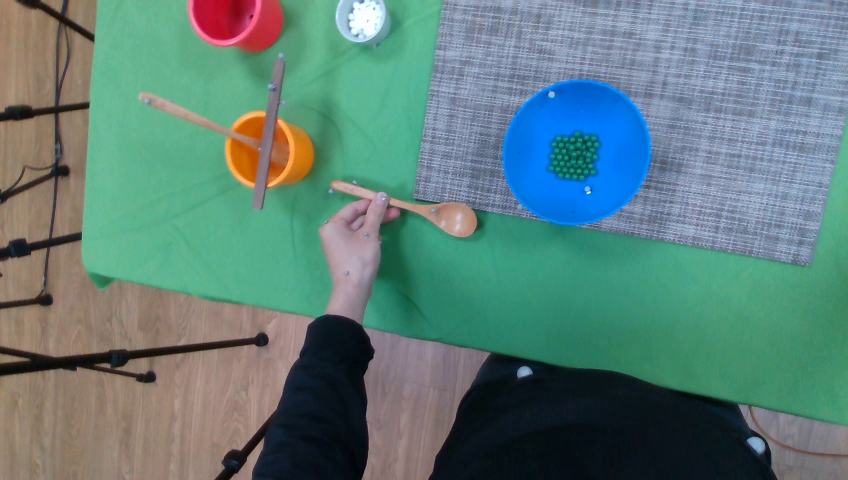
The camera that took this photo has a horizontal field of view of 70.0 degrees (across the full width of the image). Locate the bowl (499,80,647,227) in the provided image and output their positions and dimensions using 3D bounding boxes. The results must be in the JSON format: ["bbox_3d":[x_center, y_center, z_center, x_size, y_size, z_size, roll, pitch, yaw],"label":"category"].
[{"bbox_3d":[0.162,-0.091,0.664,0.151,0.077,0.151,1,96,15],"label":"bowl"}]

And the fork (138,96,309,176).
[{"bbox_3d":[-0.235,-0.124,0.728,0.209,0.018,0.028,21,106,-33],"label":"fork"}]

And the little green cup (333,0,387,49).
[{"bbox_3d":[-0.075,-0.261,0.731,0.061,0.038,0.061,1,96,15],"label":"little green cup"}]

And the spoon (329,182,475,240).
[{"bbox_3d":[-0.030,-0.043,0.745,0.193,0.021,0.042,17,110,7],"label":"spoon"}]

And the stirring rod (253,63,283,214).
[{"bbox_3d":[-0.184,-0.118,0.713,0.014,0.006,0.176,12,98,14],"label":"stirring rod"}]
